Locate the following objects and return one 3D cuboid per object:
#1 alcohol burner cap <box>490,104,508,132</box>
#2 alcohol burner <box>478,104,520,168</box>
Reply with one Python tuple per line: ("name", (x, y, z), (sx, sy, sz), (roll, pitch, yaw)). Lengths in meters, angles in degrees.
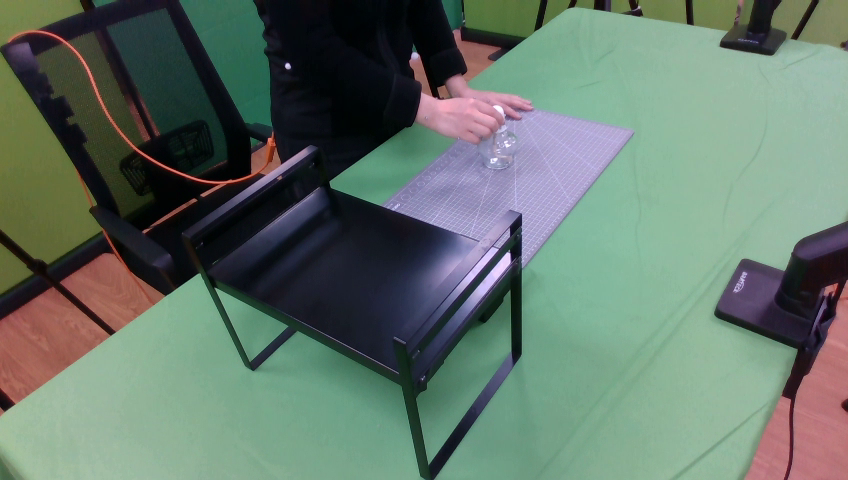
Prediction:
("alcohol burner cap", (0.133, -0.220, 1.083), (0.034, 0.048, 0.033), (-7, 41, 6))
("alcohol burner", (0.136, -0.193, 1.106), (0.078, 0.119, 0.077), (-5, 39, 4))
